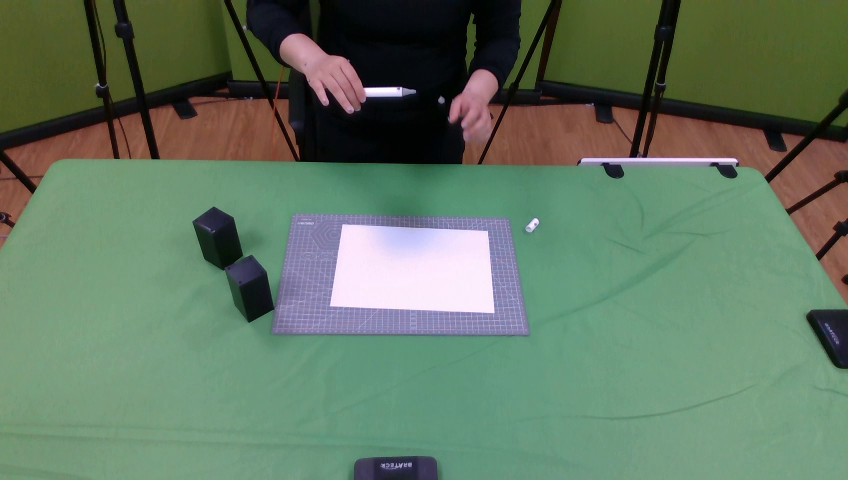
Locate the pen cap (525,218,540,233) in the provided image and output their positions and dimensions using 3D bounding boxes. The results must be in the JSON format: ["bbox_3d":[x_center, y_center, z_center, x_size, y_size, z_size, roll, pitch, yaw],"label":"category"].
[{"bbox_3d":[0.224,-0.031,1.248,0.017,0.017,0.038,30,51,23],"label":"pen cap"}]

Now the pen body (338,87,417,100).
[{"bbox_3d":[-0.083,-0.266,1.099,0.144,0.017,0.017,-4,45,6],"label":"pen body"}]
